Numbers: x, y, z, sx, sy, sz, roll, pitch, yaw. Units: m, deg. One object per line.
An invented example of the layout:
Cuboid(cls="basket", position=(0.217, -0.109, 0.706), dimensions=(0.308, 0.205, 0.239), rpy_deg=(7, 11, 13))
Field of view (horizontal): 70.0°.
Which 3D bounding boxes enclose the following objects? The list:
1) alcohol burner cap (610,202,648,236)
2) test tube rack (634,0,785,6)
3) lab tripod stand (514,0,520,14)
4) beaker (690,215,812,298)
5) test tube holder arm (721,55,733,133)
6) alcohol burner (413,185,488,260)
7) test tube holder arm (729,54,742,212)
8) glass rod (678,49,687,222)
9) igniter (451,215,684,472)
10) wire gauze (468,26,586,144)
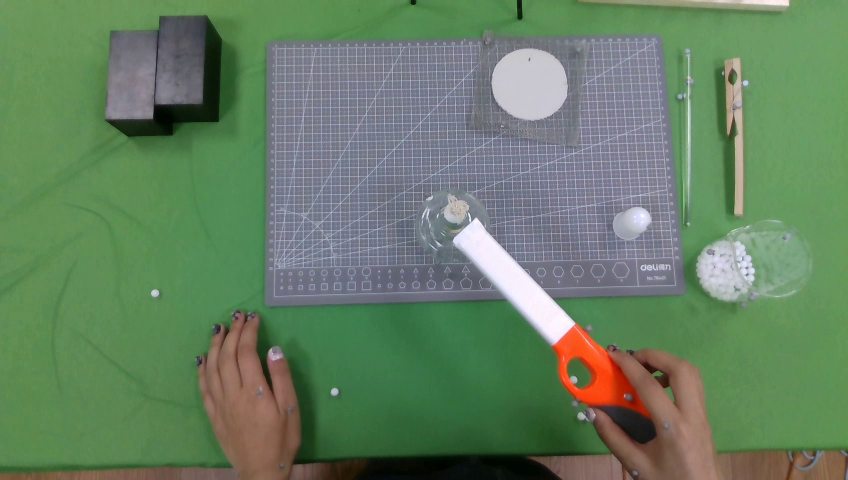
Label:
Cuboid(cls="alcohol burner cap", position=(0.221, -0.024, 0.644), dimensions=(0.034, 0.048, 0.033), rpy_deg=(0, 81, -1))
Cuboid(cls="test tube rack", position=(0.297, -0.317, 0.670), dimensions=(0.242, 0.085, 0.066), rpy_deg=(2, 81, -1))
Cuboid(cls="lab tripod stand", position=(0.051, -0.313, 0.641), dimensions=(0.148, 0.132, 0.148), rpy_deg=(0, 83, -1))
Cuboid(cls="beaker", position=(0.321, 0.019, 0.613), dimensions=(0.084, 0.100, 0.074), rpy_deg=(30, 81, 5))
Cuboid(cls="test tube holder arm", position=(0.342, -0.164, 0.683), dimensions=(0.010, 0.015, 0.087), rpy_deg=(-4, 81, 32))
Cuboid(cls="alcohol burner", position=(0.027, -0.021, 0.604), dimensions=(0.078, 0.119, 0.077), rpy_deg=(0, 80, 1))
Cuboid(cls="test tube holder arm", position=(0.346, -0.120, 0.674), dimensions=(0.013, 0.015, 0.178), rpy_deg=(-4, 81, 32))
Cuboid(cls="glass rod", position=(0.290, -0.118, 0.678), dimensions=(0.008, 0.008, 0.199), rpy_deg=(4, 84, -1))
Cuboid(cls="igniter", position=(0.127, 0.089, 0.531), dimensions=(0.057, 0.025, 0.276), rpy_deg=(-42, 85, -9))
Cuboid(cls="wire gauze", position=(0.117, -0.177, 0.682), dimensions=(0.125, 0.011, 0.121), rpy_deg=(10, 82, 0))
